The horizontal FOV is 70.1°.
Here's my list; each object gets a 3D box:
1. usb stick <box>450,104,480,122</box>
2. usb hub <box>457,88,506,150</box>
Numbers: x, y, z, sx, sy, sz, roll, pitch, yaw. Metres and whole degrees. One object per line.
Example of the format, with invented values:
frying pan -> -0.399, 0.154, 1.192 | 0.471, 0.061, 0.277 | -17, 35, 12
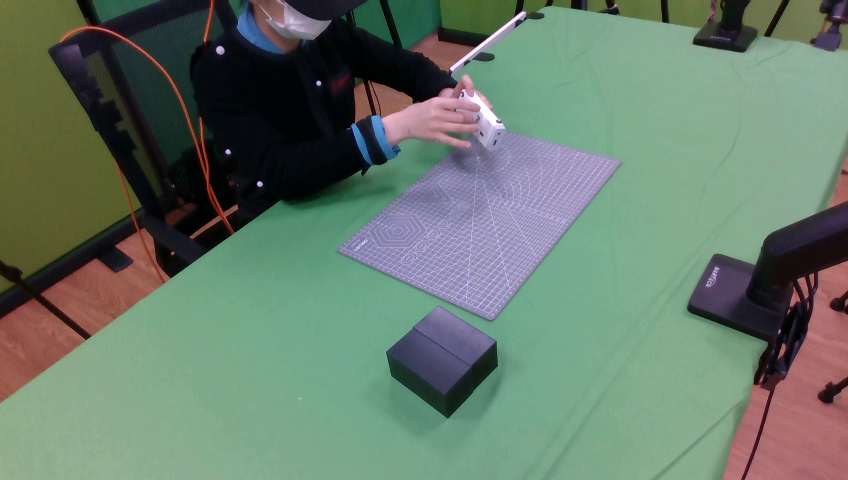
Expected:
usb stick -> 0.077, -0.223, 1.061 | 0.059, 0.027, 0.021 | -1, 43, -27
usb hub -> 0.101, -0.219, 1.091 | 0.025, 0.049, 0.124 | -9, 50, -32
